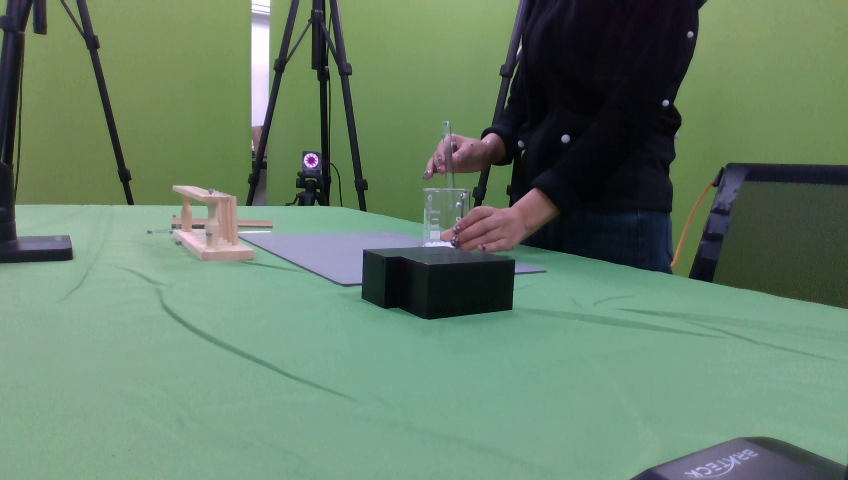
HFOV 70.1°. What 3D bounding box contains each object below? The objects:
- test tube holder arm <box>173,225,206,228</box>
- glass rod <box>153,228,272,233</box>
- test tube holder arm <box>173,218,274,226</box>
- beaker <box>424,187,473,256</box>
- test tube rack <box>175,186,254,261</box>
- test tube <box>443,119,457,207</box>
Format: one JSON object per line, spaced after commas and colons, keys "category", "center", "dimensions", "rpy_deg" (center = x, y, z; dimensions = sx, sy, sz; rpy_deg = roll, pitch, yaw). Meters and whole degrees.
{"category": "test tube holder arm", "center": [-0.414, -0.030, 1.113], "dimensions": [0.088, 0.015, 0.010], "rpy_deg": [-1, -21, -25]}
{"category": "glass rod", "center": [-0.368, -0.017, 1.065], "dimensions": [0.201, 0.008, 0.008], "rpy_deg": [-2, 8, -27]}
{"category": "test tube holder arm", "center": [-0.371, -0.033, 1.128], "dimensions": [0.179, 0.015, 0.013], "rpy_deg": [-1, -21, -25]}
{"category": "beaker", "center": [0.038, -0.029, 0.905], "dimensions": [0.084, 0.100, 0.073], "rpy_deg": [-4, 8, -45]}
{"category": "test tube rack", "center": [-0.314, -0.031, 0.889], "dimensions": [0.067, 0.085, 0.241], "rpy_deg": [-2, 8, -30]}
{"category": "test tube", "center": [0.044, -0.131, 1.034], "dimensions": [0.017, 0.150, 0.017], "rpy_deg": [-4, -1, 0]}
